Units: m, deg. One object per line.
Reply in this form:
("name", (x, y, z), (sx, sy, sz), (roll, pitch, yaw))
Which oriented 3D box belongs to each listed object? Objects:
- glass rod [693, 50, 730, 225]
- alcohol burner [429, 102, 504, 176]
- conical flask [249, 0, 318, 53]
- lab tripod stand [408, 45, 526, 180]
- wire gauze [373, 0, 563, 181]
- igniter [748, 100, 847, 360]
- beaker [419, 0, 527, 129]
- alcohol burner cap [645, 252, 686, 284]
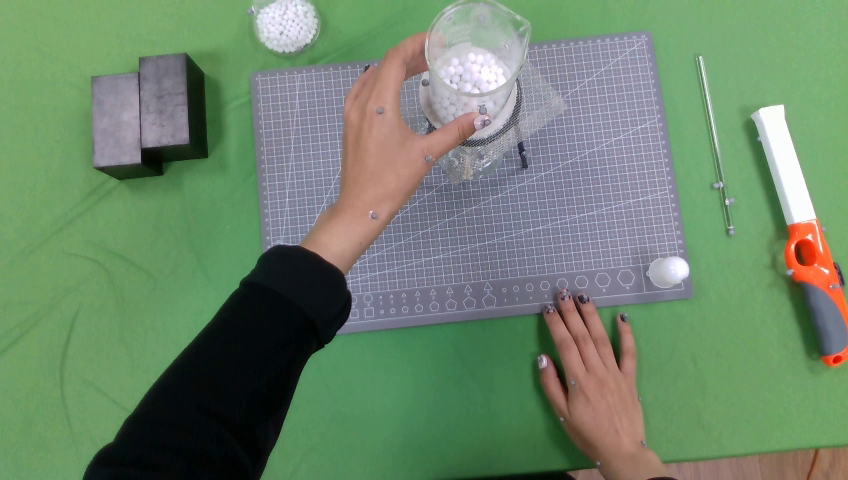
("glass rod", (0.314, -0.114, 0.661), (0.008, 0.008, 0.199), (-6, 82, 0))
("alcohol burner", (0.044, -0.107, 0.608), (0.078, 0.119, 0.077), (0, 80, 0))
("conical flask", (-0.157, -0.253, 0.628), (0.075, 0.122, 0.075), (0, 82, 1))
("lab tripod stand", (0.040, -0.118, 0.599), (0.148, 0.132, 0.148), (0, 84, 1))
("wire gauze", (0.039, -0.132, 0.535), (0.125, 0.011, 0.121), (-35, 87, -4))
("igniter", (0.396, -0.013, 0.637), (0.057, 0.025, 0.275), (-11, 83, -11))
("beaker", (0.038, -0.137, 0.487), (0.084, 0.100, 0.074), (-27, 84, -2))
("alcohol burner cap", (0.251, 0.027, 0.623), (0.034, 0.048, 0.033), (0, 82, 1))
